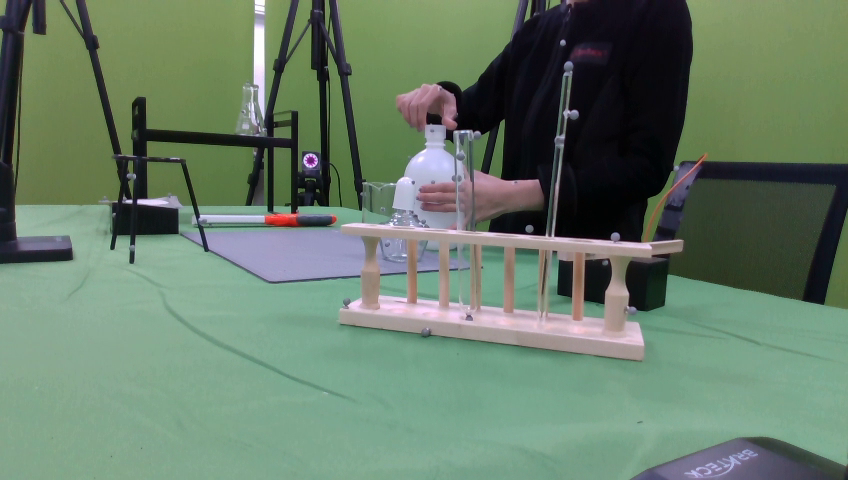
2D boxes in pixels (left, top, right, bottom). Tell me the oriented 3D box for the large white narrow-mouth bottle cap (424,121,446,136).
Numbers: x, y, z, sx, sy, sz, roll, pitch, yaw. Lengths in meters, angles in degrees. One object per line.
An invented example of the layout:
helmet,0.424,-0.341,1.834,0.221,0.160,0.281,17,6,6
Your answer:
large white narrow-mouth bottle cap,0.019,-0.182,0.988,0.038,0.024,0.037,1,7,0

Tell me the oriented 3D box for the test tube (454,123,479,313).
test tube,0.034,-0.016,0.477,0.017,0.150,0.017,-2,9,1

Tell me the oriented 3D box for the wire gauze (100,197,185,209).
wire gauze,-0.469,-0.062,1.008,0.126,0.011,0.121,-2,8,-25

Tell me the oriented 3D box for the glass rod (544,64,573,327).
glass rod,0.101,-0.028,0.453,0.008,0.199,0.008,1,14,0

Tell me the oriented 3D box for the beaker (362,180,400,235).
beaker,-0.081,-0.062,1.142,0.074,0.100,0.084,2,8,1

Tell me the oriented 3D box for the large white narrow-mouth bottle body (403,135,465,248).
large white narrow-mouth bottle body,0.018,-0.088,1.001,0.102,0.194,0.102,1,8,0

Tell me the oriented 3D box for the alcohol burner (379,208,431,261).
alcohol burner,-0.027,-0.031,0.838,0.078,0.119,0.078,0,6,0

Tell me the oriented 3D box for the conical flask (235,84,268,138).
conical flask,-0.402,-0.299,1.406,0.075,0.122,0.075,2,7,0

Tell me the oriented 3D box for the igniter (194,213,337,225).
igniter,-0.306,-0.042,1.196,0.278,0.025,0.057,-2,-2,-31

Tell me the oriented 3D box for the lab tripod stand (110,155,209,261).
lab tripod stand,-0.361,-0.046,0.806,0.148,0.131,0.148,2,5,0

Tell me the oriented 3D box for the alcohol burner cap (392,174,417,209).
alcohol burner cap,-0.025,-0.067,0.834,0.034,0.048,0.034,9,7,-1

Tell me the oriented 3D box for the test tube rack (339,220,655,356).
test tube rack,0.056,0.032,0.495,0.242,0.085,0.067,4,7,15

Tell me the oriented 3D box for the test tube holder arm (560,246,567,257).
test tube holder arm,0.173,0.007,0.611,0.088,0.015,0.010,-3,9,-30

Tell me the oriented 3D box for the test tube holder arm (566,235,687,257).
test tube holder arm,0.215,0.006,0.630,0.179,0.015,0.013,-3,9,-31
